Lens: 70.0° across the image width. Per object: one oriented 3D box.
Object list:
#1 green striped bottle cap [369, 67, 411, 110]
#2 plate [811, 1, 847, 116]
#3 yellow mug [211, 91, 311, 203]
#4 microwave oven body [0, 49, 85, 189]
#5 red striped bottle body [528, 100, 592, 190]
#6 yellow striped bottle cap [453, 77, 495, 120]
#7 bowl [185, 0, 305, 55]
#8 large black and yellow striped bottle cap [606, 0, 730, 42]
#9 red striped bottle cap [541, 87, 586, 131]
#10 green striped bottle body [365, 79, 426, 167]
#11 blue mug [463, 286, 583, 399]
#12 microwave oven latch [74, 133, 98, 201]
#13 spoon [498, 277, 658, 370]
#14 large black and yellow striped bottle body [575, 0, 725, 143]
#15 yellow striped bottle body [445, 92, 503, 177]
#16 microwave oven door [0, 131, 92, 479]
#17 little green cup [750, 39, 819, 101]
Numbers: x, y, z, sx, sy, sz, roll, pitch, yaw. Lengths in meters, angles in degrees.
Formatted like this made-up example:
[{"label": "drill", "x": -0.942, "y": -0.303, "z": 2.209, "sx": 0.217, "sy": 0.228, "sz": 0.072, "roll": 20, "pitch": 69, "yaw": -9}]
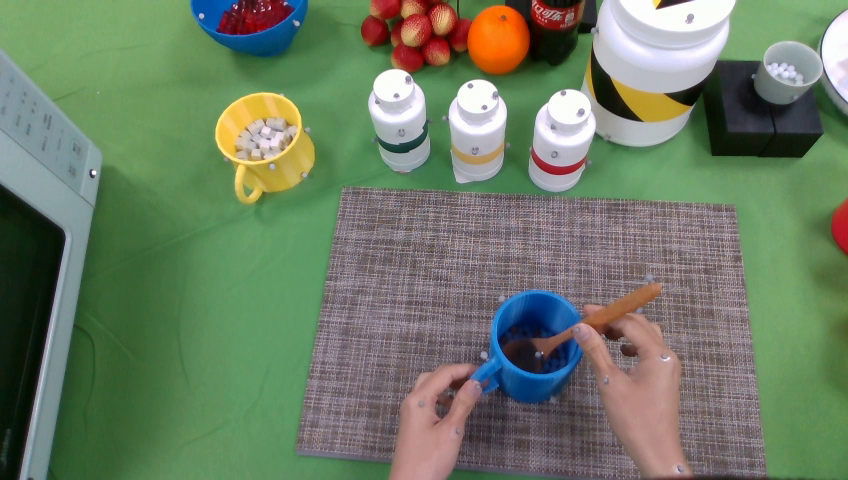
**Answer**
[{"label": "green striped bottle cap", "x": -0.036, "y": -0.161, "z": 0.641, "sx": 0.044, "sy": 0.020, "sz": 0.044, "roll": -2, "pitch": 64, "yaw": 4}, {"label": "plate", "x": 0.565, "y": -0.203, "z": 0.719, "sx": 0.209, "sy": 0.038, "sz": 0.207, "roll": -1, "pitch": 66, "yaw": 4}, {"label": "yellow mug", "x": -0.196, "y": -0.104, "z": 0.714, "sx": 0.100, "sy": 0.064, "sz": 0.130, "roll": 12, "pitch": 68, "yaw": 9}, {"label": "microwave oven body", "x": -0.550, "y": 0.049, "z": 0.560, "sx": 0.326, "sy": 0.262, "sz": 0.438, "roll": -5, "pitch": 66, "yaw": 1}, {"label": "red striped bottle body", "x": 0.147, "y": -0.111, "z": 0.663, "sx": 0.063, "sy": 0.120, "sz": 0.062, "roll": -3, "pitch": 64, "yaw": 6}, {"label": "yellow striped bottle cap", "x": 0.052, "y": -0.147, "z": 0.629, "sx": 0.044, "sy": 0.019, "sz": 0.044, "roll": -1, "pitch": 67, "yaw": 4}, {"label": "bowl", "x": -0.223, "y": -0.299, "z": 0.797, "sx": 0.151, "sy": 0.077, "sz": 0.150, "roll": -1, "pitch": 66, "yaw": 3}, {"label": "large black and yellow striped bottle cap", "x": 0.236, "y": -0.241, "z": 0.587, "sx": 0.115, "sy": 0.019, "sz": 0.114, "roll": -2, "pitch": 64, "yaw": 4}, {"label": "red striped bottle cap", "x": 0.142, "y": -0.134, "z": 0.615, "sx": 0.044, "sy": 0.018, "sz": 0.044, "roll": 0, "pitch": 65, "yaw": 0}, {"label": "green striped bottle body", "x": -0.032, "y": -0.139, "z": 0.688, "sx": 0.063, "sy": 0.120, "sz": 0.062, "roll": -1, "pitch": 65, "yaw": 3}, {"label": "blue mug", "x": 0.087, "y": 0.108, "z": 0.572, "sx": 0.116, "sy": 0.106, "sz": 0.081, "roll": -30, "pitch": 66, "yaw": -9}, {"label": "microwave oven latch", "x": -0.408, "y": -0.085, "z": 0.716, "sx": 0.030, "sy": 0.030, "sz": 0.078, "roll": -5, "pitch": 66, "yaw": 2}, {"label": "spoon", "x": 0.127, "y": 0.080, "z": 0.534, "sx": 0.022, "sy": 0.194, "sz": 0.041, "roll": -8, "pitch": 67, "yaw": -38}, {"label": "large black and yellow striped bottle body", "x": 0.244, "y": -0.207, "z": 0.664, "sx": 0.131, "sy": 0.185, "sz": 0.129, "roll": -2, "pitch": 65, "yaw": 4}, {"label": "yellow striped bottle body", "x": 0.056, "y": -0.126, "z": 0.676, "sx": 0.063, "sy": 0.121, "sz": 0.062, "roll": -2, "pitch": 65, "yaw": 4}, {"label": "microwave oven door", "x": -0.402, "y": 0.071, "z": 0.534, "sx": 0.039, "sy": 0.246, "sz": 0.353, "roll": -6, "pitch": 65, "yaw": 2}, {"label": "little green cup", "x": 0.393, "y": -0.185, "z": 0.667, "sx": 0.061, "sy": 0.039, "sz": 0.061, "roll": 0, "pitch": 64, "yaw": 1}]
